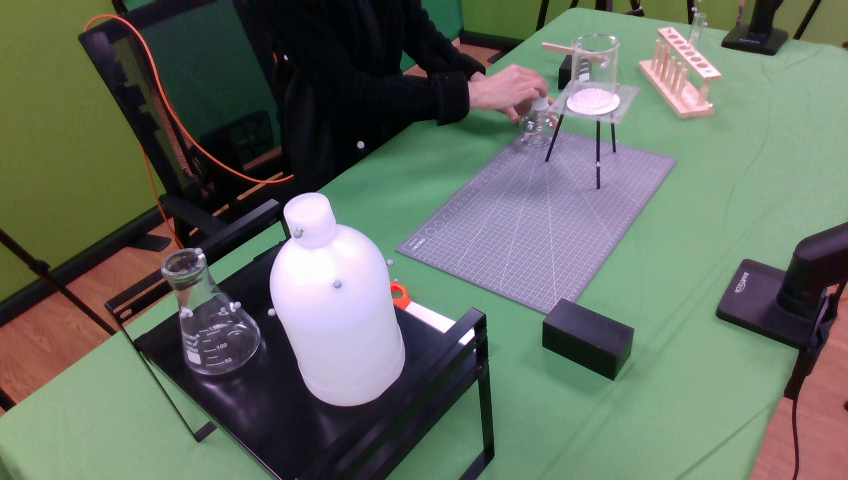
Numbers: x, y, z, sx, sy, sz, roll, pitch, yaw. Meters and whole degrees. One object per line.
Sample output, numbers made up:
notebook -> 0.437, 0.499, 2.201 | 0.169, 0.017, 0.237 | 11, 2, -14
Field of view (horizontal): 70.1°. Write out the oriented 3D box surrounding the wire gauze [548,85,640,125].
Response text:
wire gauze -> 0.286, -0.233, 1.020 | 0.124, 0.011, 0.122 | 15, 43, 30

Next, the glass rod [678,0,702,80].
glass rod -> 0.543, -0.417, 1.233 | 0.008, 0.200, 0.008 | 1, 39, 0

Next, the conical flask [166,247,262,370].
conical flask -> -0.208, 0.064, 0.584 | 0.075, 0.122, 0.075 | -5, 40, 4

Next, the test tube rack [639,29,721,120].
test tube rack -> 0.527, -0.351, 1.262 | 0.067, 0.085, 0.241 | -8, 40, 1

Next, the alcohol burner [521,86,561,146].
alcohol burner -> 0.223, -0.241, 1.156 | 0.078, 0.119, 0.077 | -5, 43, 5

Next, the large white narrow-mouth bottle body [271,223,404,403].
large white narrow-mouth bottle body -> -0.077, 0.048, 0.525 | 0.102, 0.195, 0.101 | -5, 40, 5

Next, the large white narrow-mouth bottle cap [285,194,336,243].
large white narrow-mouth bottle cap -> -0.087, -0.017, 0.468 | 0.038, 0.024, 0.037 | -5, 40, 4

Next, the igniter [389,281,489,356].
igniter -> -0.029, 0.095, 0.871 | 0.274, 0.025, 0.057 | 22, 59, 31

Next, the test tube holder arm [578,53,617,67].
test tube holder arm -> 0.376, -0.393, 1.314 | 0.087, 0.015, 0.010 | 26, 51, 32

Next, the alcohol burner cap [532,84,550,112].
alcohol burner cap -> 0.218, -0.269, 1.133 | 0.034, 0.048, 0.033 | -8, 36, 7

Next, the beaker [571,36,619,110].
beaker -> 0.281, -0.273, 0.992 | 0.084, 0.101, 0.073 | -24, 42, -16

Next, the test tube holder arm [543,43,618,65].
test tube holder arm -> 0.344, -0.413, 1.340 | 0.177, 0.015, 0.013 | 25, 50, 31

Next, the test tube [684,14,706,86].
test tube -> 0.540, -0.378, 1.215 | 0.017, 0.151, 0.017 | -2, 44, 3

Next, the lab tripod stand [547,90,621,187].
lab tripod stand -> 0.289, -0.184, 1.062 | 0.148, 0.132, 0.147 | -6, 41, 6
